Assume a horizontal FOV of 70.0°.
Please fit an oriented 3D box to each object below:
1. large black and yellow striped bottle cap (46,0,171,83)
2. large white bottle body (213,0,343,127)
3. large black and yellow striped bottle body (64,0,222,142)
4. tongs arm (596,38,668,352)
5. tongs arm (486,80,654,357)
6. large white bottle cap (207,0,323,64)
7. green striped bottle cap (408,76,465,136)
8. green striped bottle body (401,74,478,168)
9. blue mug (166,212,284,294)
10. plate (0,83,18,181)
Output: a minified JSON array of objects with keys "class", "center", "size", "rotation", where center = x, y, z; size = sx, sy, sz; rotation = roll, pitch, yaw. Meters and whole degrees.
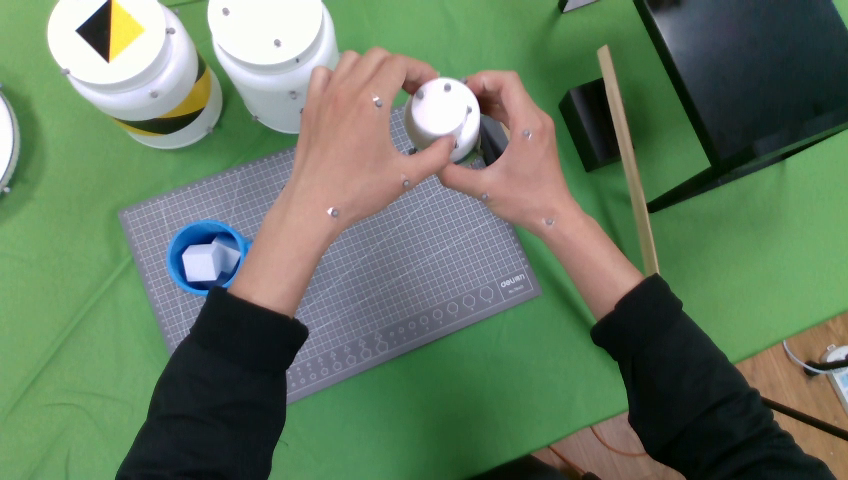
[{"class":"large black and yellow striped bottle cap","center":[-0.314,-0.214,0.605],"size":[0.115,0.019,0.114],"rotation":[1,82,-5]},{"class":"large white bottle body","center":[-0.165,-0.222,0.700],"size":[0.131,0.185,0.130],"rotation":[1,81,-4]},{"class":"large black and yellow striped bottle body","center":[-0.318,-0.200,0.687],"size":[0.131,0.184,0.130],"rotation":[1,81,-3]},{"class":"tongs arm","center":[0.254,-0.052,0.745],"size":[0.028,0.027,0.388],"rotation":[-14,94,-14]},{"class":"tongs arm","center":[0.179,-0.023,0.733],"size":[0.051,0.026,0.385],"rotation":[-27,96,-10]},{"class":"large white bottle cap","center":[-0.160,-0.236,0.617],"size":[0.115,0.018,0.114],"rotation":[1,81,-4]},{"class":"green striped bottle cap","center":[0.010,-0.105,0.473],"size":[0.044,0.020,0.044],"rotation":[0,91,7]},{"class":"green striped bottle body","center":[0.015,-0.102,0.525],"size":[0.063,0.119,0.063],"rotation":[0,87,5]},{"class":"blue mug","center":[-0.221,0.014,0.700],"size":[0.116,0.106,0.082],"rotation":[-15,82,-6]},{"class":"plate","center":[-0.594,-0.124,0.732],"size":[0.208,0.039,0.207],"rotation":[1,82,-4]}]
